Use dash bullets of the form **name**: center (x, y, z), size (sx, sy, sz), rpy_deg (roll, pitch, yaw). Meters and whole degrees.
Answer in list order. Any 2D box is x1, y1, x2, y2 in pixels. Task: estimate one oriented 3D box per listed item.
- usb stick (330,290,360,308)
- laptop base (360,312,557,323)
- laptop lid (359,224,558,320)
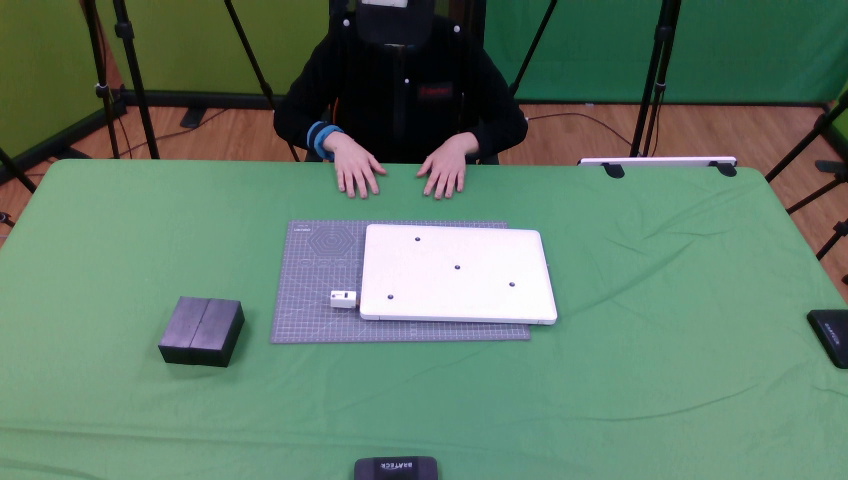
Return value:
- **usb stick**: center (-0.135, 0.105, 1.068), size (0.059, 0.027, 0.021), rpy_deg (6, 44, -7)
- **laptop base**: center (0.061, 0.063, 1.145), size (0.354, 0.023, 0.234), rpy_deg (2, 43, -3)
- **laptop lid**: center (0.062, 0.053, 1.138), size (0.357, 0.013, 0.240), rpy_deg (3, 44, -2)
